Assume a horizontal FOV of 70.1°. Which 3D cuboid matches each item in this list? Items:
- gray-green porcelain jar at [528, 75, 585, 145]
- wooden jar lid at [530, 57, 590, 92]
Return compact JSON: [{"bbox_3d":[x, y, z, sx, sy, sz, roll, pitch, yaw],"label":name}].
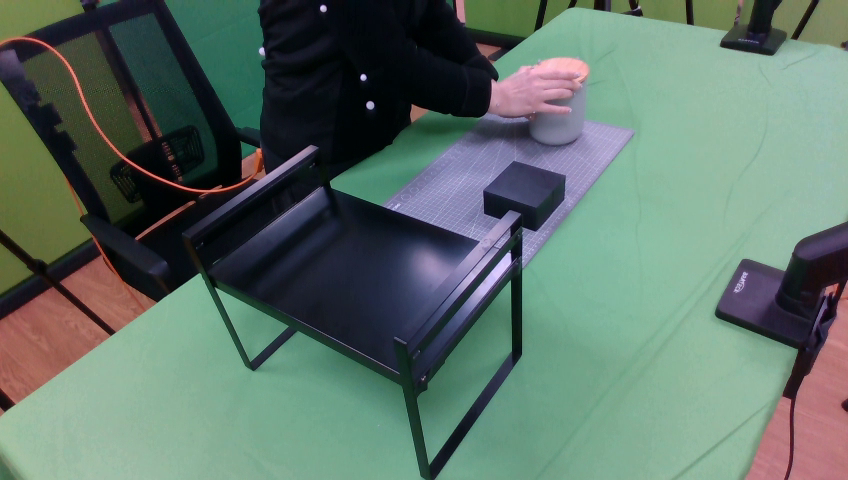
[{"bbox_3d":[0.253,-0.255,1.155,0.106,0.127,0.105,-6,44,6],"label":"gray-green porcelain jar"},{"bbox_3d":[0.249,-0.302,1.110,0.108,0.021,0.108,-6,40,6],"label":"wooden jar lid"}]
